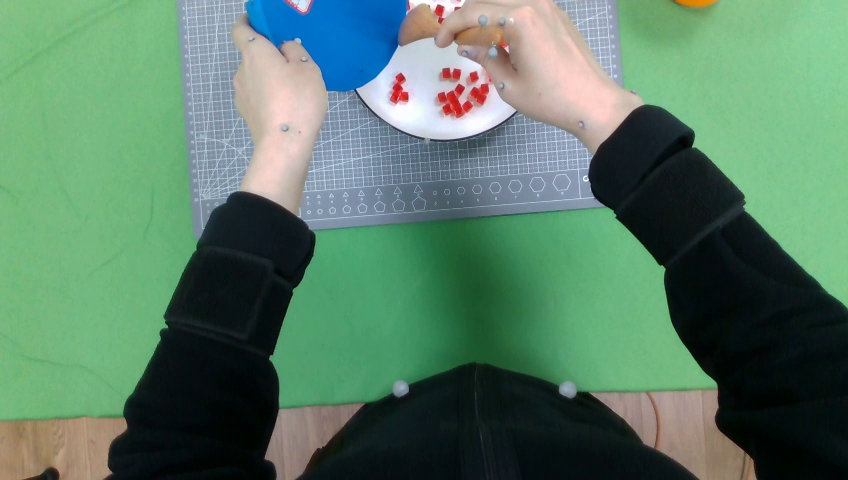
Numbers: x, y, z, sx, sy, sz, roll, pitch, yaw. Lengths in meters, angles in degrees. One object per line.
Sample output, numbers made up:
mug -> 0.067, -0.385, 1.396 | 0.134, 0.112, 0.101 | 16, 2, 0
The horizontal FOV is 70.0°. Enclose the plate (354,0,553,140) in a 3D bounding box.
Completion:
plate -> 0.022, -0.202, 0.602 | 0.209, 0.038, 0.209 | 0, 90, 3

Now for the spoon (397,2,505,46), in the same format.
spoon -> 0.017, -0.160, 0.459 | 0.022, 0.191, 0.041 | 29, 97, -32

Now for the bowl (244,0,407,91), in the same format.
bowl -> -0.095, -0.206, 0.509 | 0.076, 0.153, 0.151 | 22, 91, 40
